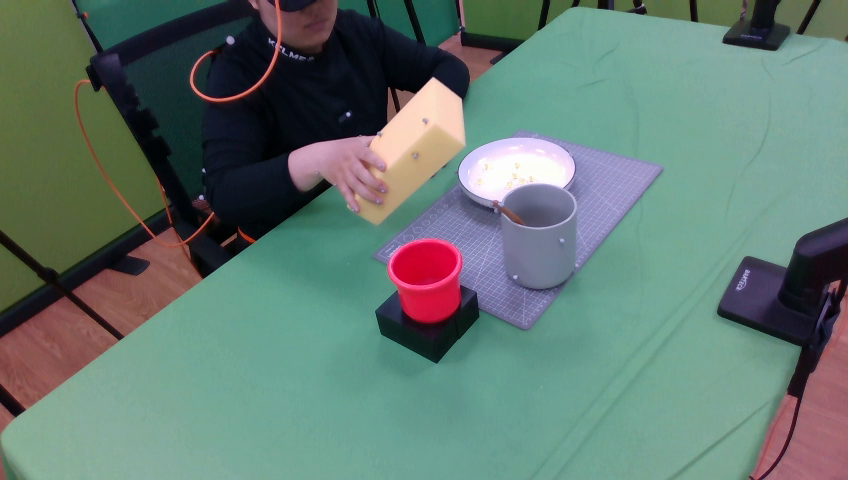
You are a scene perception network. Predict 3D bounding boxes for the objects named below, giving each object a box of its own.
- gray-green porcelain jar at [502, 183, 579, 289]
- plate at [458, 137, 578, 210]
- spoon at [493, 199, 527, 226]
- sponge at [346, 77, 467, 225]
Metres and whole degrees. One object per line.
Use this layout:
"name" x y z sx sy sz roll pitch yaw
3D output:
"gray-green porcelain jar" 0.167 -0.001 0.866 0.106 0.127 0.105 -5 40 5
"plate" 0.166 -0.113 1.068 0.207 0.039 0.206 -5 40 5
"spoon" 0.135 -0.016 0.831 0.021 0.195 0.041 -49 53 -1
"sponge" -0.029 -0.131 0.917 0.206 0.061 0.117 -40 35 31
